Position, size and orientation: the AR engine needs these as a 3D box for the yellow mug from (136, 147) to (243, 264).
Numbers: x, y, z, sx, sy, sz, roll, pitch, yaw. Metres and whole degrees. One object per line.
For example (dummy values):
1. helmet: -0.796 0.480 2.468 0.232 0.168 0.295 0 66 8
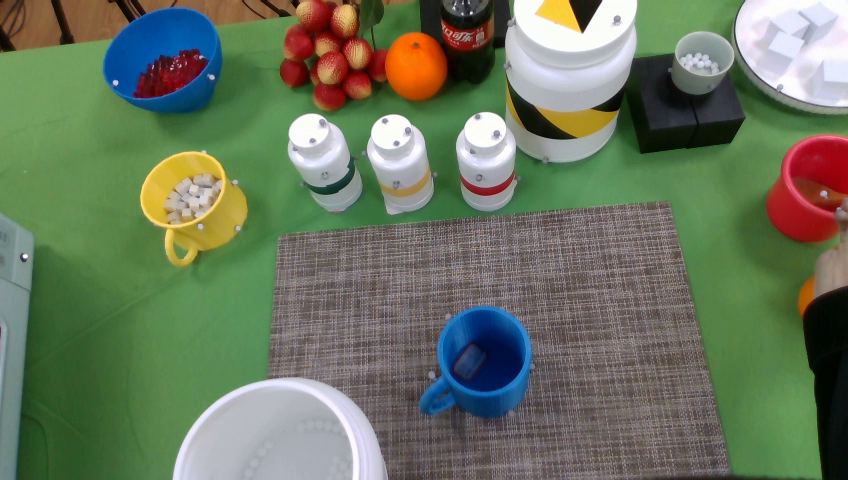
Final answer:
1. yellow mug: -0.275 -0.035 0.704 0.100 0.064 0.130 4 67 9

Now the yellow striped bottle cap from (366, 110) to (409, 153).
1. yellow striped bottle cap: -0.038 -0.112 0.622 0.044 0.019 0.044 -1 62 2

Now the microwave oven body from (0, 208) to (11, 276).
1. microwave oven body: -0.602 0.162 0.544 0.326 0.262 0.438 -13 66 0

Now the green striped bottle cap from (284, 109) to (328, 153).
1. green striped bottle cap: -0.124 -0.115 0.634 0.044 0.020 0.044 -2 65 4

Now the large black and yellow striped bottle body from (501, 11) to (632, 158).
1. large black and yellow striped bottle body: 0.149 -0.188 0.657 0.130 0.185 0.129 -3 66 6

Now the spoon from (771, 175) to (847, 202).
1. spoon: 0.414 -0.039 0.577 0.041 0.192 0.022 -21 107 -9

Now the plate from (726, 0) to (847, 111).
1. plate: 0.466 -0.236 0.720 0.209 0.038 0.207 -2 66 6

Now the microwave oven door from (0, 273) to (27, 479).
1. microwave oven door: -0.452 0.164 0.520 0.039 0.246 0.352 -14 65 1

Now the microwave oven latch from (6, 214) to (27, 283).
1. microwave oven latch: -0.483 0.012 0.703 0.030 0.030 0.078 -12 66 1

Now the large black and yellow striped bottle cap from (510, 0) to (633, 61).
1. large black and yellow striped bottle cap: 0.139 -0.223 0.578 0.115 0.019 0.114 -4 67 9

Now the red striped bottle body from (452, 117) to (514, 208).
1. red striped bottle body: 0.065 -0.089 0.658 0.063 0.121 0.062 -4 64 8

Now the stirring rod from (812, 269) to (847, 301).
1. stirring rod: 0.400 0.065 0.540 0.014 0.006 0.175 -2 23 3

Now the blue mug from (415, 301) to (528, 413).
1. blue mug: 0.042 0.122 0.570 0.116 0.107 0.081 -34 65 -8

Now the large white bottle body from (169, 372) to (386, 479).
1. large white bottle body: -0.095 0.170 0.432 0.131 0.186 0.129 1 64 -1

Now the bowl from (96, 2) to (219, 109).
1. bowl: -0.329 -0.224 0.788 0.151 0.077 0.150 -2 66 5

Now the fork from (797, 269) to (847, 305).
1. fork: 0.430 0.062 0.529 0.028 0.019 0.205 -40 24 -11

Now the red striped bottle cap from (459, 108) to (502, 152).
1. red striped bottle cap: 0.057 -0.111 0.611 0.044 0.018 0.044 -1 64 2

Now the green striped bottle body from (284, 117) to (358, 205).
1. green striped bottle body: -0.117 -0.093 0.681 0.063 0.120 0.062 -2 66 6

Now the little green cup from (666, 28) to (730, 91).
1. little green cup: 0.299 -0.196 0.666 0.061 0.039 0.061 -2 64 4

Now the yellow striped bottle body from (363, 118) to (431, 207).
1. yellow striped bottle body: -0.030 -0.091 0.670 0.063 0.121 0.062 -3 65 6
